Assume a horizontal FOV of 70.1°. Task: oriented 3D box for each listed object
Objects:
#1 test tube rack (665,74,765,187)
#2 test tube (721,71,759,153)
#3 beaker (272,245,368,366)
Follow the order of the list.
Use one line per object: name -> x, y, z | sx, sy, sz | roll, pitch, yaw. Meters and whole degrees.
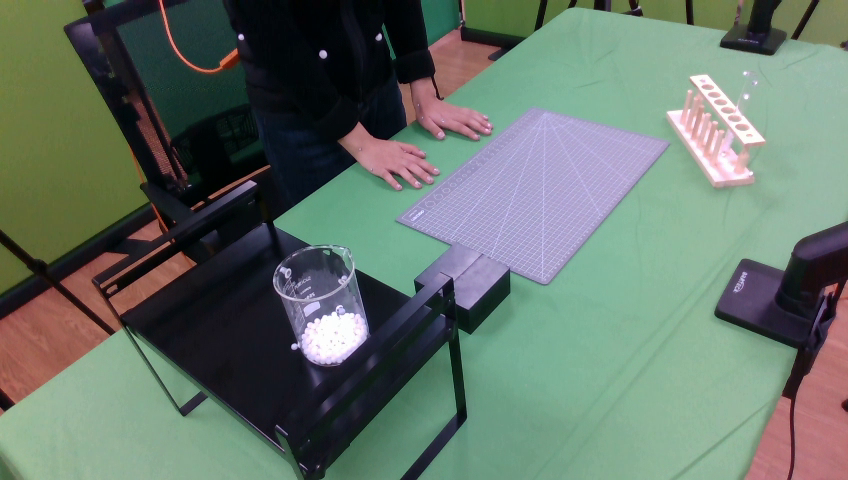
test tube rack -> 0.512, -0.202, 1.082 | 0.067, 0.085, 0.241 | -6, 41, 2
test tube -> 0.529, -0.212, 1.015 | 0.017, 0.151, 0.017 | 0, 40, 0
beaker -> -0.093, 0.064, 0.578 | 0.073, 0.101, 0.084 | 21, 48, 29
